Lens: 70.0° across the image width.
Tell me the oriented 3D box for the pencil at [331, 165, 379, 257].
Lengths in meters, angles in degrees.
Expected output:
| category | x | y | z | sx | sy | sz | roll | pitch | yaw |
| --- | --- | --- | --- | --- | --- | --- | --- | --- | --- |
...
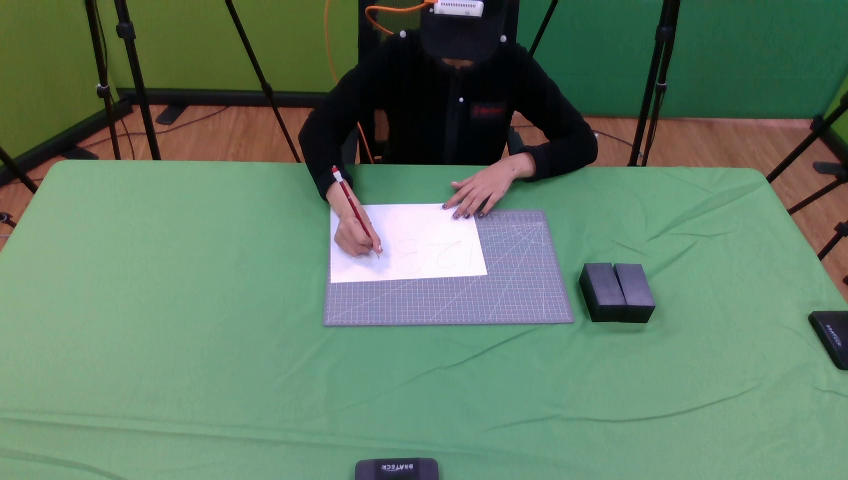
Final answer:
| category | x | y | z | sx | sy | sz | roll | pitch | yaw |
| --- | --- | --- | --- | --- | --- | --- | --- | --- | --- |
| pencil | -0.128 | -0.052 | 1.143 | 0.012 | 0.194 | 0.012 | -24 | 16 | 7 |
